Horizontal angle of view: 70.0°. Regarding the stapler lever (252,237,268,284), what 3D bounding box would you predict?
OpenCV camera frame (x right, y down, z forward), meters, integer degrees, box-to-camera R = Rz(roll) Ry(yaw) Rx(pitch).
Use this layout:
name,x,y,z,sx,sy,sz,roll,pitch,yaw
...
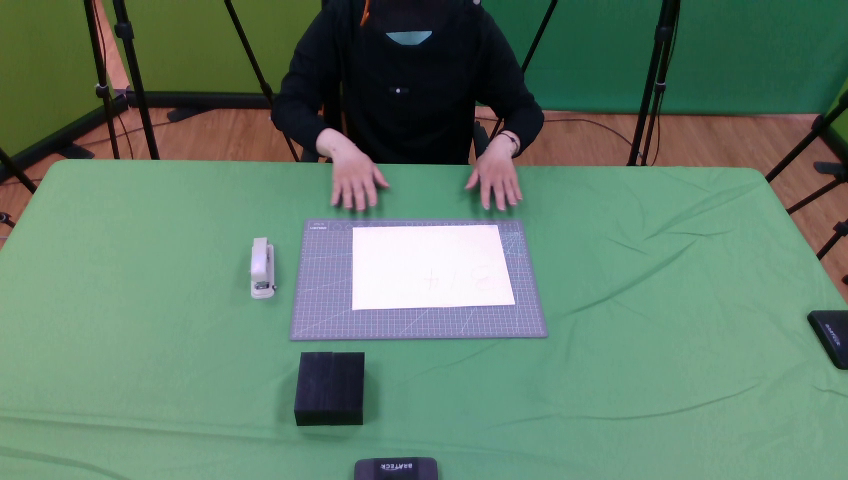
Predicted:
name,x,y,z,sx,sy,sz,roll,pitch,yaw
stapler lever,-0.299,0.031,1.107,0.027,0.040,0.117,-4,45,-11

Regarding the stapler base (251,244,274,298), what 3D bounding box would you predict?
name,x,y,z,sx,sy,sz,roll,pitch,yaw
stapler base,-0.300,0.050,1.124,0.041,0.024,0.129,-4,45,-11
